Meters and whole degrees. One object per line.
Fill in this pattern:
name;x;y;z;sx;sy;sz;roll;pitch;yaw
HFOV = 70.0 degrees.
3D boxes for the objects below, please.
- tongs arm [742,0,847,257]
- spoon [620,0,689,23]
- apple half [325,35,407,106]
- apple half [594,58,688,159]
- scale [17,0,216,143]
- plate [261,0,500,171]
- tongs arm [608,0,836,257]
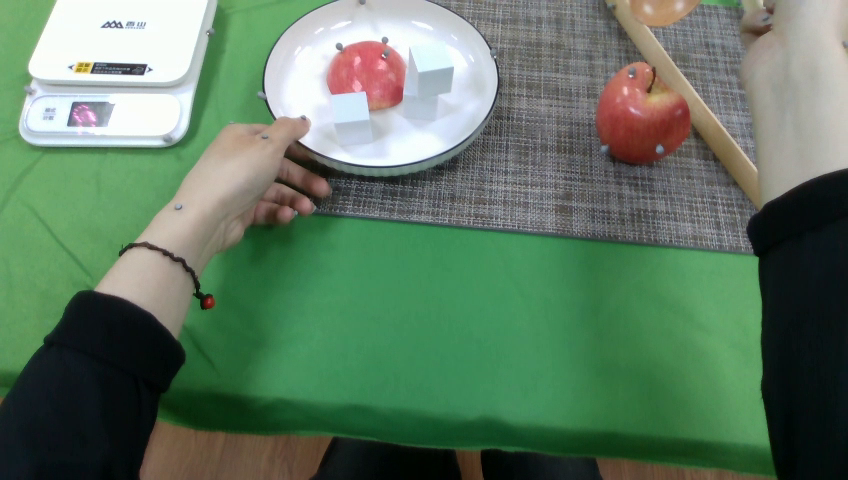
tongs arm;0.325;-0.161;0.573;0.051;0.027;0.381;-4;62;-6
spoon;0.235;-0.212;0.431;0.193;0.022;0.041;-25;79;20
apple half;-0.052;-0.160;0.550;0.081;0.033;0.080;0;58;0
apple half;0.174;-0.104;0.513;0.053;0.075;0.080;-29;69;-12
scale;-0.282;-0.178;0.565;0.149;0.032;0.199;1;62;-1
plate;-0.038;-0.143;0.547;0.209;0.038;0.207;1;61;-1
tongs arm;0.243;-0.148;0.563;0.028;0.028;0.384;-15;63;-15
